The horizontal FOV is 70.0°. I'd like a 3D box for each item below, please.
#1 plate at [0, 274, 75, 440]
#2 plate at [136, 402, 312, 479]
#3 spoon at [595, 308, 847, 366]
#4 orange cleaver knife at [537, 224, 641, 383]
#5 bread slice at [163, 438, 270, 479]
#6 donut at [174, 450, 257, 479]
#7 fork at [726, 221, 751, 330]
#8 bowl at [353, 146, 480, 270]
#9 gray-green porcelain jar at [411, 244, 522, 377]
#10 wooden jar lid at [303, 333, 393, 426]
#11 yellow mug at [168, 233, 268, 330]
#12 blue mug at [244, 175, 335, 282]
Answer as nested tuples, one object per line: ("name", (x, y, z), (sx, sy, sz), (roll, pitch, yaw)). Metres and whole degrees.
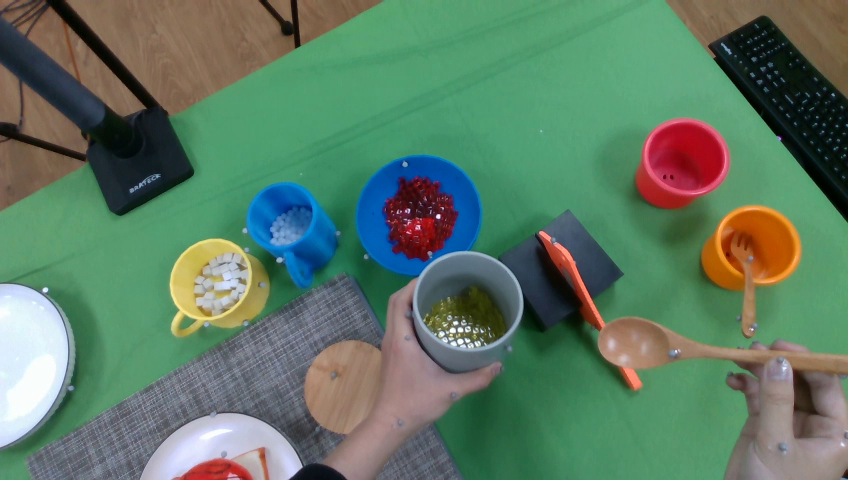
("plate", (-0.534, 0.147, 0.760), (0.207, 0.039, 0.206), (-1, 75, 4))
("plate", (-0.225, 0.293, 0.691), (0.209, 0.038, 0.208), (-1, 75, 5))
("spoon", (0.222, 0.076, 0.441), (0.192, 0.022, 0.041), (1, 87, 37))
("orange cleaver knife", (0.188, 0.073, 0.696), (0.012, 0.077, 0.212), (-33, 105, -4))
("bread slice", (-0.237, 0.299, 0.695), (0.131, 0.019, 0.104), (-17, 74, -4))
("donut", (-0.229, 0.283, 0.666), (0.099, 0.048, 0.098), (0, 74, 2))
("fork", (0.345, 0.033, 0.658), (0.028, 0.019, 0.206), (31, 36, 6))
("bowl", (-0.006, -0.029, 0.741), (0.151, 0.077, 0.150), (-1, 76, 5))
("gray-green porcelain jar", (0.039, 0.079, 0.626), (0.106, 0.127, 0.105), (1, 62, -1))
("wooden jar lid", (-0.089, 0.166, 0.723), (0.108, 0.021, 0.108), (-1, 76, 4))
("yellow mug", (-0.262, 0.059, 0.746), (0.099, 0.064, 0.130), (37, 82, 13))
("blue mug", (-0.158, -0.007, 0.734), (0.082, 0.106, 0.116), (-11, 74, 2))
